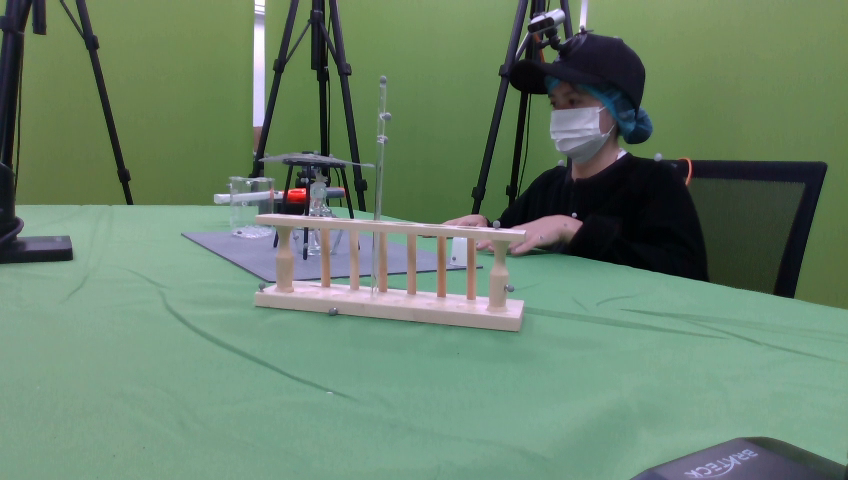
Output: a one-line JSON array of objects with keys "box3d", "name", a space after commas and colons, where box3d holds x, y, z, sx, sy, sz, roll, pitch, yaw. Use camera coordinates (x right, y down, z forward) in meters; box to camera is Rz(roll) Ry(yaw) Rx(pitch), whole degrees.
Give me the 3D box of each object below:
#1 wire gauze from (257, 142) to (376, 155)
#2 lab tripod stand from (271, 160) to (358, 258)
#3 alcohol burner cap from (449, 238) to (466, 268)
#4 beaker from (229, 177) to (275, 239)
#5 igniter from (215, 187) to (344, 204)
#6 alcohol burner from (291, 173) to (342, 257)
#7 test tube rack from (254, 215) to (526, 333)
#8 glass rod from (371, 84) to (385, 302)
[{"box3d": [-0.155, -0.130, 0.871, 0.124, 0.011, 0.122, -1, 7, 36], "name": "wire gauze"}, {"box3d": [-0.159, -0.048, 0.876, 0.148, 0.131, 0.148, 3, 5, 0], "name": "lab tripod stand"}, {"box3d": [0.051, 0.014, 0.827, 0.034, 0.048, 0.034, 2, 6, 0], "name": "alcohol burner cap"}, {"box3d": [-0.292, -0.056, 1.023, 0.074, 0.100, 0.083, -1, 8, -26], "name": "beaker"}, {"box3d": [-0.290, -0.093, 1.256, 0.278, 0.025, 0.057, -6, 12, -35], "name": "igniter"}, {"box3d": [-0.155, -0.037, 0.870, 0.078, 0.119, 0.078, 1, 6, 0], "name": "alcohol burner"}, {"box3d": [-0.030, 0.025, 0.558, 0.242, 0.085, 0.067, 4, 7, 12], "name": "test tube rack"}, {"box3d": [-0.041, -0.041, 0.548, 0.008, 0.199, 0.008, 2, 2, 0], "name": "glass rod"}]
